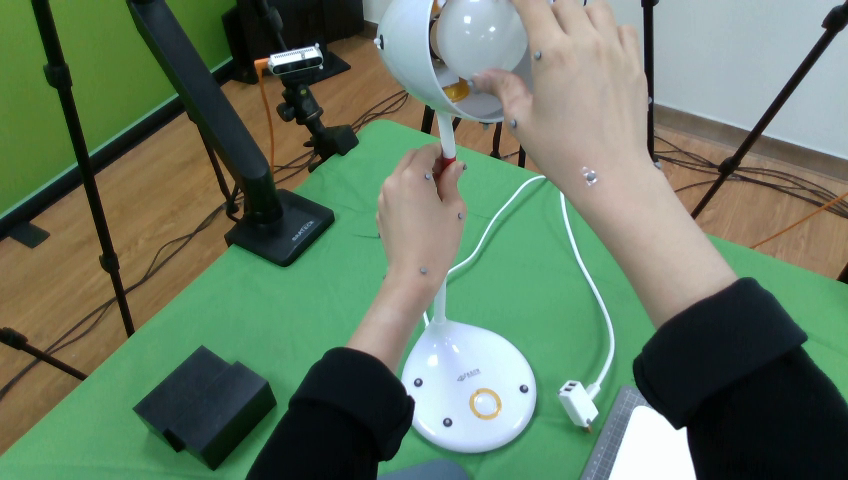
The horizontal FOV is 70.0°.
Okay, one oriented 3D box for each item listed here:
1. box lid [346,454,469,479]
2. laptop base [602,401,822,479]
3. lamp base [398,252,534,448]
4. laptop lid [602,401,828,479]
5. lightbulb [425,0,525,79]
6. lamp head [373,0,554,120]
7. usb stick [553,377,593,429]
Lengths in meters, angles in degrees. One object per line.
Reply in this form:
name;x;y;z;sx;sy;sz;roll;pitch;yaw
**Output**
box lid;-0.039;0.387;0.531;0.264;0.015;0.367;-13;50;-10
laptop base;0.334;0.322;0.574;0.352;0.023;0.234;21;55;19
lamp base;0.039;0.109;0.666;0.161;0.182;0.177;-30;51;-23
laptop lid;0.333;0.316;0.564;0.354;0.013;0.240;22;54;20
lightbulb;0.026;-0.143;0.418;0.059;0.060;0.106;-23;24;-18
lamp head;0.017;-0.145;0.448;0.112;0.113;0.122;-31;23;-24
usb stick;0.171;0.185;0.683;0.027;0.059;0.021;-35;13;-31
